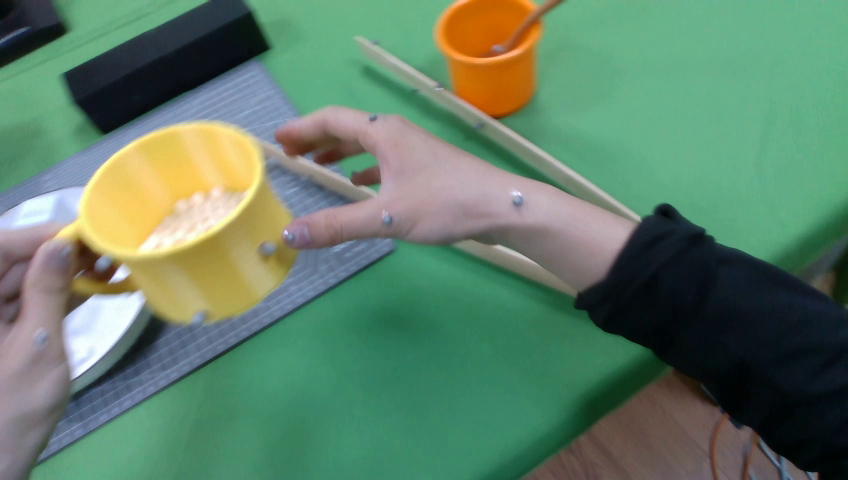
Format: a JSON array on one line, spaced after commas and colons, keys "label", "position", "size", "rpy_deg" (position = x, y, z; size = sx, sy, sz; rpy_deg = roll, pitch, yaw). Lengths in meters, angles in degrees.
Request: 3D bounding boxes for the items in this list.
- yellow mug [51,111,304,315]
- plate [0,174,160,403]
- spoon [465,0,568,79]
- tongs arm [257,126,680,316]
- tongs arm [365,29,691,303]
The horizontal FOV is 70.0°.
[{"label": "yellow mug", "position": [-0.141, -0.010, 0.342], "size": [0.131, 0.064, 0.099], "rpy_deg": [-25, 52, -10]}, {"label": "plate", "position": [-0.304, 0.037, 0.507], "size": [0.207, 0.039, 0.205], "rpy_deg": [-5, 58, 8]}, {"label": "spoon", "position": [0.100, -0.187, 0.506], "size": [0.022, 0.193, 0.041], "rpy_deg": [33, 58, -21]}, {"label": "tongs arm", "position": [0.010, -0.024, 0.494], "size": [0.385, 0.028, 0.028], "rpy_deg": [25, 62, 22]}, {"label": "tongs arm", "position": [0.063, -0.082, 0.517], "size": [0.381, 0.027, 0.050], "rpy_deg": [39, 71, 26]}]
